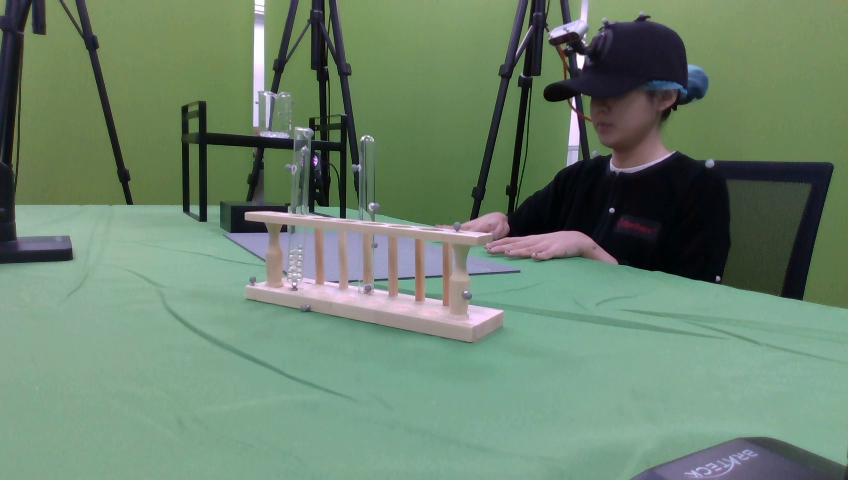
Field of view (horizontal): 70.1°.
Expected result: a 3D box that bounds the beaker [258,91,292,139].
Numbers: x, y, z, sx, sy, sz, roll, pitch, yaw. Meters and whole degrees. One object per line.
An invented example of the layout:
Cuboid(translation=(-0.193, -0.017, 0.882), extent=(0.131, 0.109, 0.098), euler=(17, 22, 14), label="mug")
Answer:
Cuboid(translation=(-0.331, -0.276, 1.343), extent=(0.074, 0.100, 0.083), euler=(0, 8, -20), label="beaker")

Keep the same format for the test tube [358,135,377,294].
Cuboid(translation=(-0.053, -0.022, 0.565), extent=(0.017, 0.150, 0.017), euler=(2, 6, 0), label="test tube")

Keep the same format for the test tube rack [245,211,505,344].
Cuboid(translation=(-0.049, 0.025, 0.547), extent=(0.241, 0.085, 0.067), euler=(7, 8, 28), label="test tube rack")

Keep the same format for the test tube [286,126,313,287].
Cuboid(translation=(-0.116, -0.030, 0.559), extent=(0.017, 0.150, 0.017), euler=(6, 11, -1), label="test tube")
